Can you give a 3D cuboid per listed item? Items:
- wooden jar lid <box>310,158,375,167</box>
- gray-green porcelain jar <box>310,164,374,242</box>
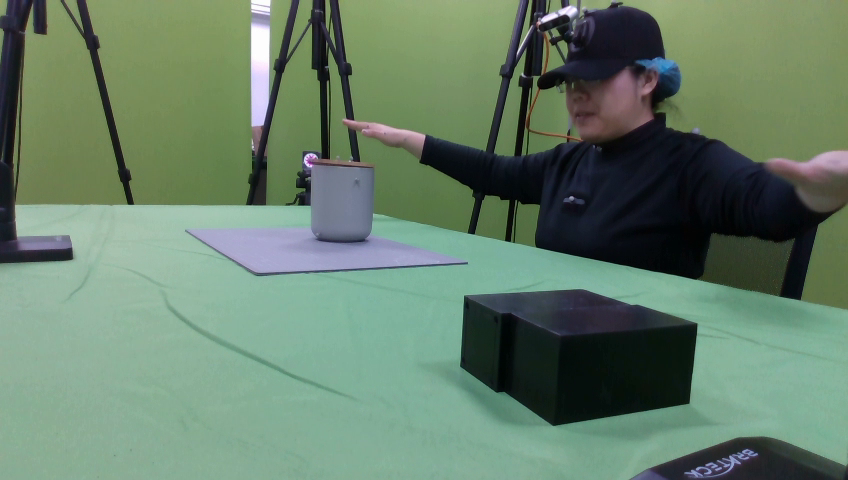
[{"bbox_3d":[-0.136,-0.125,1.015,0.108,0.020,0.108,4,8,0],"label":"wooden jar lid"},{"bbox_3d":[-0.139,-0.063,1.023,0.106,0.126,0.106,3,8,0],"label":"gray-green porcelain jar"}]
